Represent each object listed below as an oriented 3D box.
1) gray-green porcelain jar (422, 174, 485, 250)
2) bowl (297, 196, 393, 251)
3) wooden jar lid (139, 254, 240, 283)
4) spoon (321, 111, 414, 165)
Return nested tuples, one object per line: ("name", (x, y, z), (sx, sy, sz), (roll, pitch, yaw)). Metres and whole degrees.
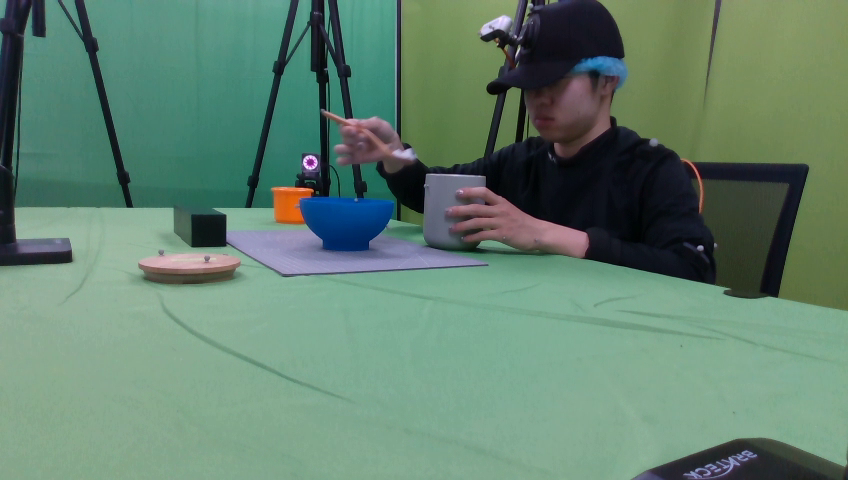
("gray-green porcelain jar", (0.050, -0.049, 1.040), (0.106, 0.126, 0.106), (2, 8, 0))
("bowl", (-0.125, -0.026, 0.957), (0.151, 0.077, 0.151), (2, 7, 0))
("wooden jar lid", (-0.269, 0.032, 0.697), (0.108, 0.020, 0.108), (2, 5, 0))
("spoon", (-0.097, -0.172, 1.010), (0.193, 0.021, 0.042), (35, 9, 19))
